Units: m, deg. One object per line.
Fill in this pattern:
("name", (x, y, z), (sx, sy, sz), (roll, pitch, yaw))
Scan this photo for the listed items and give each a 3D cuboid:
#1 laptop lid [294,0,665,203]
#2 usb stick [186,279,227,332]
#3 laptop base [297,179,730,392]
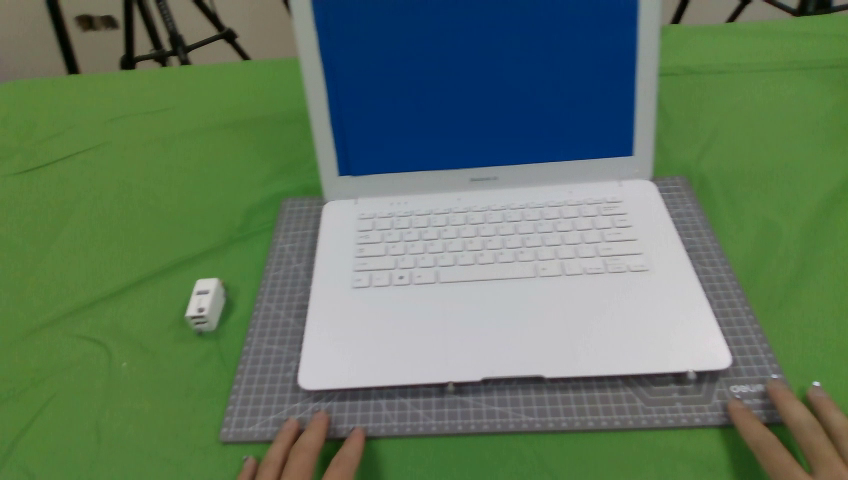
("laptop lid", (0.058, -0.155, 0.608), (0.357, 0.243, 0.013), (-5, 23, 2))
("usb stick", (-0.203, 0.056, 0.571), (0.021, 0.027, 0.058), (-6, 41, 6))
("laptop base", (0.069, 0.034, 0.571), (0.354, 0.023, 0.233), (-4, 47, 2))
